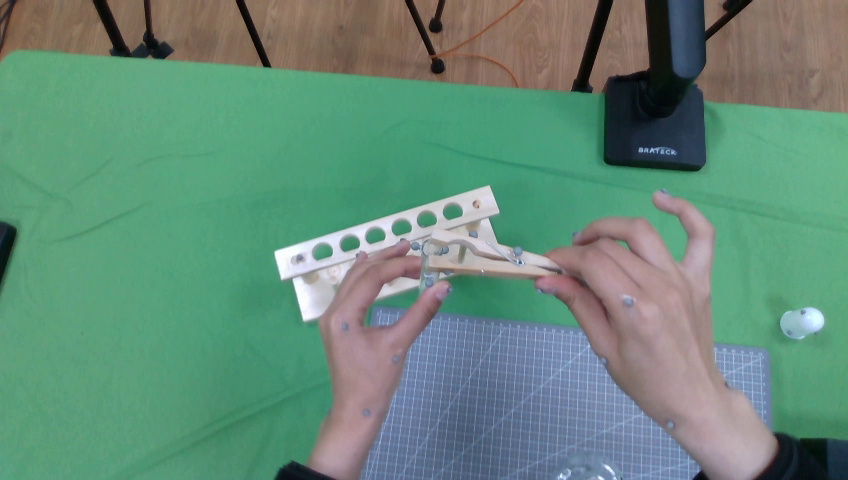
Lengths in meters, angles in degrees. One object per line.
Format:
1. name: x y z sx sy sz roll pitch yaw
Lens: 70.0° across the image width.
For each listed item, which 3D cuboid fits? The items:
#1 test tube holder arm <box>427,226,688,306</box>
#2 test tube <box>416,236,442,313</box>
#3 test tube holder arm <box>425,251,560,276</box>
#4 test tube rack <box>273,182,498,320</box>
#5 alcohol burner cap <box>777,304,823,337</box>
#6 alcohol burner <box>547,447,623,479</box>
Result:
1. test tube holder arm: 0.089 0.018 0.399 0.179 0.015 0.013 13 76 -5
2. test tube: 0.003 0.032 0.481 0.017 0.151 0.017 1 68 -1
3. test tube holder arm: 0.045 0.016 0.393 0.088 0.015 0.010 3 76 -8
4. test tube rack: -0.034 0.015 0.679 0.242 0.085 0.066 -17 73 -4
5. alcohol burner cap: 0.419 0.088 0.672 0.034 0.048 0.033 -1 72 2
6. alcohol burner: 0.161 0.243 0.589 0.078 0.119 0.077 0 74 0
